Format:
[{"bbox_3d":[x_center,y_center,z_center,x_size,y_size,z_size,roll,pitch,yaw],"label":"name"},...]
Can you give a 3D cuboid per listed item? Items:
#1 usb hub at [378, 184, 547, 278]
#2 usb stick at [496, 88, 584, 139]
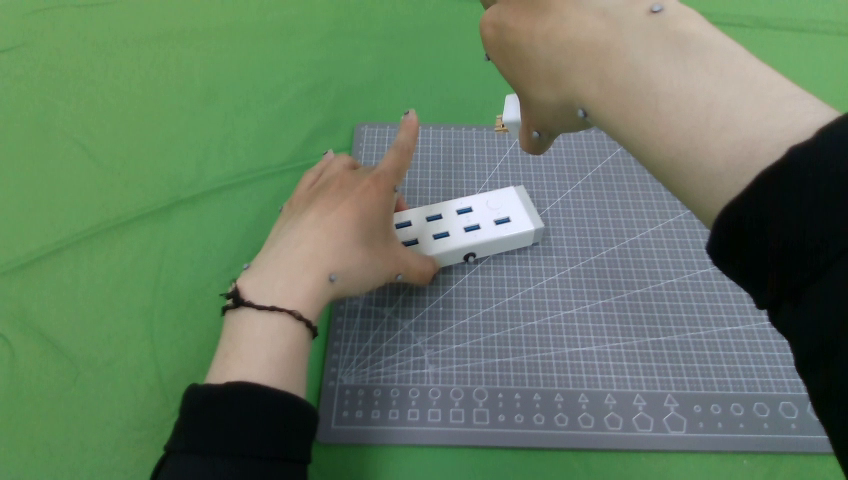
[{"bbox_3d":[0.029,-0.009,0.478,0.125,0.025,0.049,-13,56,-11],"label":"usb hub"},{"bbox_3d":[0.070,-0.080,0.391,0.059,0.027,0.021,0,72,36],"label":"usb stick"}]
